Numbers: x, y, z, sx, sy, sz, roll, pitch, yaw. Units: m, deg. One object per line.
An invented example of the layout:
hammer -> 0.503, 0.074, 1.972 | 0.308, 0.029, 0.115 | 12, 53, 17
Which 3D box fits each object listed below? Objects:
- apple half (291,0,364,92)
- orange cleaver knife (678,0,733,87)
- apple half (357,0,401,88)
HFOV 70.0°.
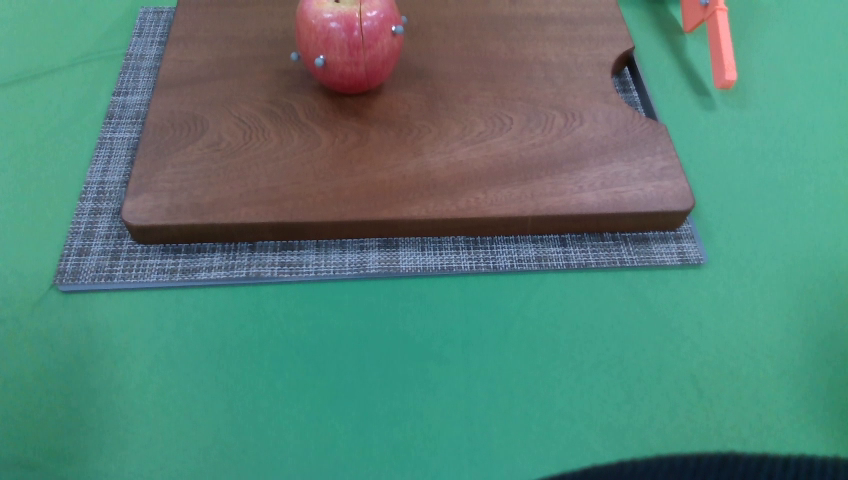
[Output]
apple half -> -0.073, -0.155, 0.462 | 0.053, 0.075, 0.080 | -4, 60, -2
orange cleaver knife -> 0.257, -0.233, 0.565 | 0.012, 0.077, 0.210 | 1, 79, -6
apple half -> -0.034, -0.158, 0.464 | 0.033, 0.082, 0.080 | -5, 56, -2
